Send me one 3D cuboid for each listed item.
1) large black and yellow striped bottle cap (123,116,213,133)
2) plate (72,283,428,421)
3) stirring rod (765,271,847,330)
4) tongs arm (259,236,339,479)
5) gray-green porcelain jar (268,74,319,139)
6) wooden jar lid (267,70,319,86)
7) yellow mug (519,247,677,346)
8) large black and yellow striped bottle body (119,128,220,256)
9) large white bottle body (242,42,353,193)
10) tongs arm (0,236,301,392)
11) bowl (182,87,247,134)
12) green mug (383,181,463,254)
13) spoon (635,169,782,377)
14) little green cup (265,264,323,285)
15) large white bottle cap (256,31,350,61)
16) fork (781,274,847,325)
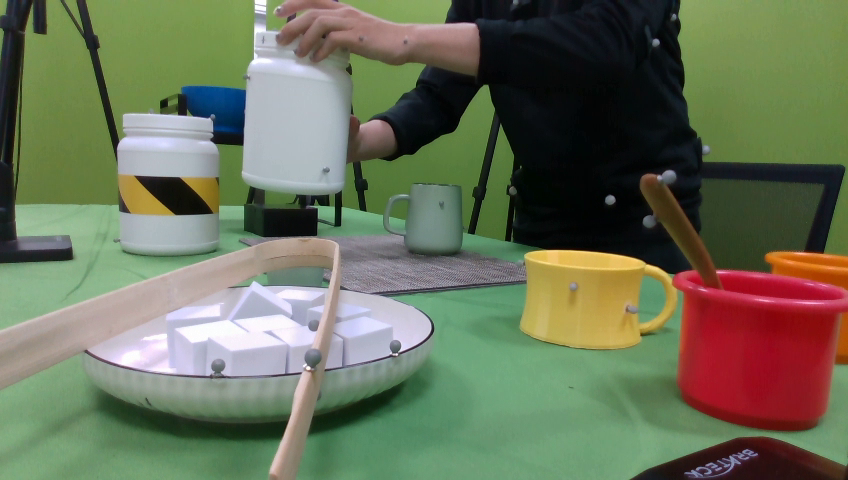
[{"bbox_3d":[-0.353,-0.159,0.838,0.115,0.019,0.115,2,6,0],"label":"large black and yellow striped bottle cap"},{"bbox_3d":[-0.102,0.066,0.381,0.208,0.039,0.207,3,7,0],"label":"plate"},{"bbox_3d":[0.352,0.020,0.481,0.176,0.006,0.014,-40,-7,17],"label":"stirring rod"},{"bbox_3d":[-0.074,0.040,0.345,0.051,0.026,0.384,-1,9,-3],"label":"tongs arm"},{"bbox_3d":[-0.277,-0.279,1.280,0.106,0.126,0.106,2,7,0],"label":"gray-green porcelain jar"},{"bbox_3d":[-0.275,-0.339,1.271,0.108,0.020,0.108,5,6,0],"label":"wooden jar lid"},{"bbox_3d":[0.148,0.045,0.513,0.131,0.064,0.100,3,7,0],"label":"yellow mug"},{"bbox_3d":[-0.355,-0.076,0.850,0.131,0.184,0.130,2,8,0],"label":"large black and yellow striped bottle body"},{"bbox_3d":[-0.160,-0.160,0.771,0.131,0.184,0.130,7,12,-1],"label":"large white bottle body"},{"bbox_3d":[-0.158,0.038,0.346,0.028,0.028,0.388,-3,8,11],"label":"tongs arm"},{"bbox_3d":[-0.383,-0.244,1.158,0.151,0.077,0.151,2,7,0],"label":"bowl"},{"bbox_3d":[-0.001,-0.036,0.921,0.126,0.105,0.092,0,8,-16],"label":"green mug"},{"bbox_3d":[0.161,0.026,0.346,0.021,0.194,0.041,-51,32,-19],"label":"spoon"},{"bbox_3d":[-0.134,0.034,0.627,0.061,0.038,0.061,3,6,0],"label":"little green cup"},{"bbox_3d":[-0.150,-0.241,0.755,0.115,0.018,0.115,8,12,-1],"label":"large white bottle cap"},{"bbox_3d":[0.332,0.018,0.443,0.028,0.018,0.207,-3,-35,-16],"label":"fork"}]
